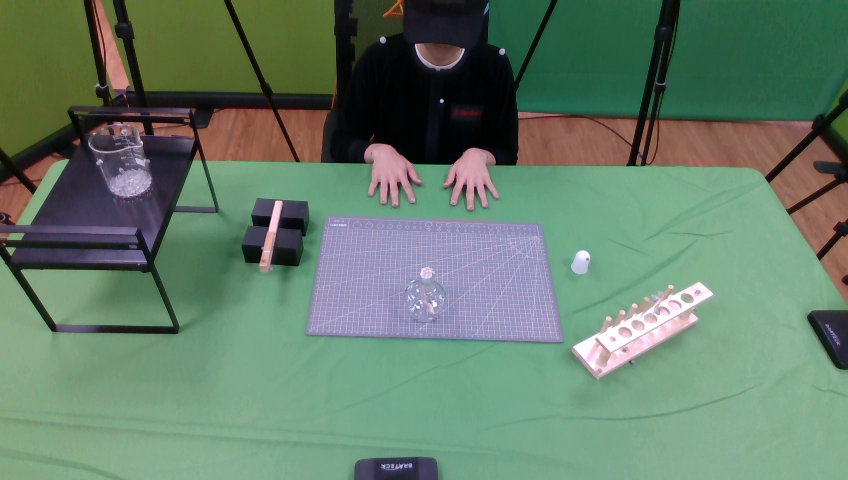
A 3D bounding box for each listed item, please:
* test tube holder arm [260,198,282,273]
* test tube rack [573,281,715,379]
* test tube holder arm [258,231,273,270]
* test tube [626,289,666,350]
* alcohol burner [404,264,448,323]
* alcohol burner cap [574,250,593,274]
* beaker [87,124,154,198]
[{"bbox_3d":[-0.282,-0.012,1.121,0.015,0.013,0.177,-3,48,3],"label":"test tube holder arm"},{"bbox_3d":[0.378,0.140,1.038,0.242,0.085,0.066,-22,51,-23],"label":"test tube rack"},{"bbox_3d":[-0.282,0.018,1.086,0.015,0.010,0.087,-3,47,3],"label":"test tube holder arm"},{"bbox_3d":[0.355,0.132,0.975,0.017,0.151,0.017,3,46,-3],"label":"test tube"},{"bbox_3d":[0.003,0.087,1.042,0.078,0.120,0.077,1,45,0],"label":"alcohol burner"},{"bbox_3d":[0.308,0.039,1.163,0.034,0.048,0.033,1,46,-1],"label":"alcohol burner cap"},{"bbox_3d":[-0.482,-0.124,0.978,0.084,0.101,0.073,9,46,4],"label":"beaker"}]
